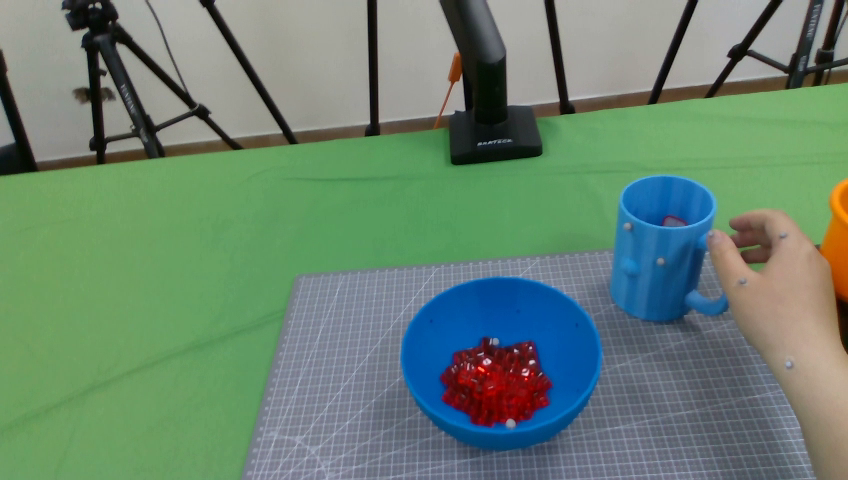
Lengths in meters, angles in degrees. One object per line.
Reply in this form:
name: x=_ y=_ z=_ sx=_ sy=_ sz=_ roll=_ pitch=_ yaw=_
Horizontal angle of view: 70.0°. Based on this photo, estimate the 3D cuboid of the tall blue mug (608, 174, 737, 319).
tall blue mug: x=0.221 y=0.011 z=0.535 sx=0.106 sy=0.109 sz=0.077 roll=14 pitch=45 yaw=25

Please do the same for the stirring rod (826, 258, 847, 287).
stirring rod: x=0.380 y=-0.026 z=0.453 sx=0.176 sy=0.006 sz=0.014 roll=-48 pitch=34 yaw=21

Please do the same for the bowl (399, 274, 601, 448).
bowl: x=0.060 y=0.106 z=0.477 sx=0.151 sy=0.077 sz=0.150 roll=-5 pitch=40 yaw=5
